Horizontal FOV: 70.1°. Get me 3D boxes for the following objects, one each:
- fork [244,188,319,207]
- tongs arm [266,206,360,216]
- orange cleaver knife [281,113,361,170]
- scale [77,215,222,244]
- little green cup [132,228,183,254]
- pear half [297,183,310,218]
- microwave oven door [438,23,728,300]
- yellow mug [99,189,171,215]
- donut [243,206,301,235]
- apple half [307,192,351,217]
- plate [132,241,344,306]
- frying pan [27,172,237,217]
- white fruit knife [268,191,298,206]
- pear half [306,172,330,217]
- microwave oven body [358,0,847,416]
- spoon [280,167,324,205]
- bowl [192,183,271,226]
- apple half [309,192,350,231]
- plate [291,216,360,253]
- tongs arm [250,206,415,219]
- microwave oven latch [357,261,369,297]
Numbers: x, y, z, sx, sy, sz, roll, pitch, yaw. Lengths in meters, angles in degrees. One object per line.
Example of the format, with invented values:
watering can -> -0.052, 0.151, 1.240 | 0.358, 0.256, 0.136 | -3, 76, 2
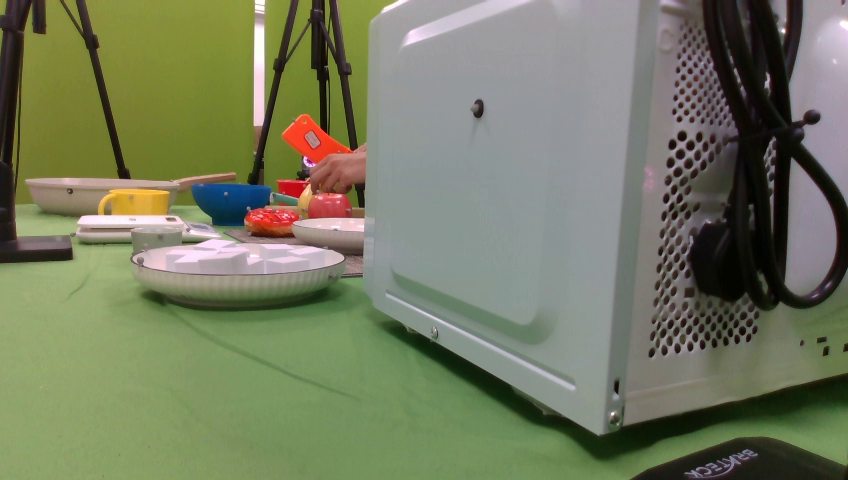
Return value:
fork -> -0.356, -0.105, 1.526 | 0.208, 0.018, 0.028 | 16, -6, -41
tongs arm -> -0.174, -0.061, 1.363 | 0.387, 0.026, 0.050 | -1, 2, -31
orange cleaver knife -> -0.196, -0.185, 1.251 | 0.212, 0.077, 0.012 | 29, 4, -37
scale -> -0.434, -0.019, 0.963 | 0.202, 0.031, 0.148 | -1, 9, -27
little green cup -> -0.342, 0.006, 0.779 | 0.061, 0.038, 0.061 | 2, 8, 0
pear half -> -0.239, -0.071, 1.210 | 0.031, 0.088, 0.070 | 0, 6, -1
microwave oven door -> 0.181, -0.073, 0.621 | 0.358, 0.243, 0.039 | -2, 8, -29
yellow mug -> -0.519, -0.055, 1.080 | 0.099, 0.064, 0.131 | 6, 9, 26
donut -> -0.261, -0.032, 1.043 | 0.099, 0.048, 0.099 | 3, 9, 0
apple half -> -0.174, -0.049, 1.087 | 0.081, 0.074, 0.053 | 5, 11, 2
plate -> -0.187, 0.033, 0.625 | 0.208, 0.039, 0.207 | 2, 7, 0
frying pan -> -0.624, -0.118, 1.387 | 0.305, 0.102, 0.490 | 8, 17, 32
white fruit knife -> -0.364, -0.105, 1.464 | 0.208, 0.027, 0.016 | 15, -1, -34
pear half -> -0.203, -0.081, 1.207 | 0.056, 0.110, 0.076 | -2, 7, 1
microwave oven body -> 0.211, -0.047, 0.474 | 0.444, 0.260, 0.324 | -1, 7, -28
spoon -> -0.316, -0.159, 1.640 | 0.194, 0.022, 0.041 | -50, 32, -20
bowl -> -0.382, -0.071, 1.202 | 0.151, 0.077, 0.151 | 3, 7, 0
apple half -> -0.173, -0.055, 1.125 | 0.081, 0.081, 0.033 | 3, 11, 3
plate -> -0.103, -0.009, 0.945 | 0.209, 0.038, 0.209 | 2, 8, 0
tongs arm -> -0.211, -0.066, 1.440 | 0.389, 0.027, 0.028 | 0, -2, -17
microwave oven latch -> -0.019, 0.033, 0.530 | 0.079, 0.029, 0.030 | -1, 7, -27
